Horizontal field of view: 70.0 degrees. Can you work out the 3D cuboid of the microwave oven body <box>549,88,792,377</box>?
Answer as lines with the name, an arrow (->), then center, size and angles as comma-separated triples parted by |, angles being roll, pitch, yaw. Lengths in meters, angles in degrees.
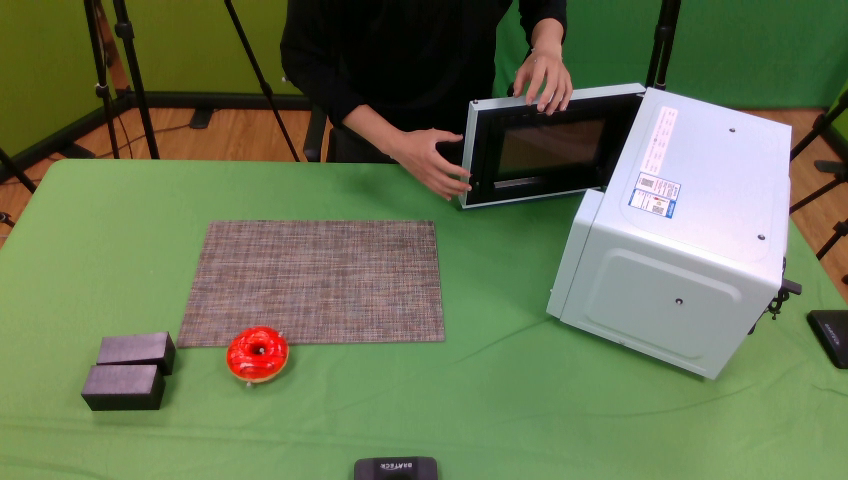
microwave oven body -> 0.456, -0.028, 1.088 | 0.325, 0.261, 0.440 | 20, 47, 16

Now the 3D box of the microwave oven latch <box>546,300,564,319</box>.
microwave oven latch -> 0.242, 0.102, 1.081 | 0.030, 0.029, 0.079 | 21, 48, 17

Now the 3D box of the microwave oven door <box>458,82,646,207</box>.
microwave oven door -> 0.252, -0.190, 1.221 | 0.356, 0.245, 0.039 | -9, 48, -12

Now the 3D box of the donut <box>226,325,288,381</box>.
donut -> -0.270, 0.182, 0.984 | 0.099, 0.048, 0.098 | 5, 49, -5
